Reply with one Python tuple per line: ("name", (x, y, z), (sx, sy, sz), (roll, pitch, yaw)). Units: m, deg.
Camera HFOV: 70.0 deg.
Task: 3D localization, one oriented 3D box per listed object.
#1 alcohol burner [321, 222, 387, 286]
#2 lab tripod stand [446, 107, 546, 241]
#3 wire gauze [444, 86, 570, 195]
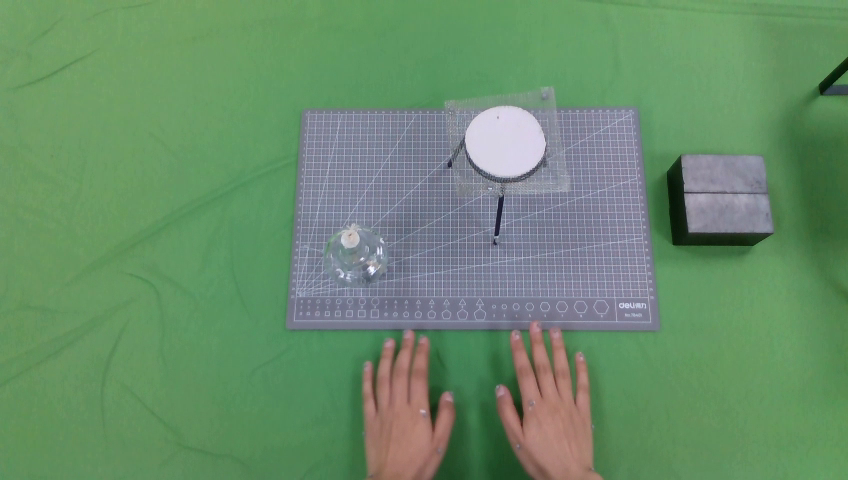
("alcohol burner", (-0.082, 0.011, 0.701), (0.078, 0.120, 0.077), (0, 71, 0))
("lab tripod stand", (0.092, -0.089, 0.717), (0.148, 0.132, 0.147), (0, 71, 1))
("wire gauze", (0.088, -0.106, 0.652), (0.125, 0.011, 0.120), (-5, 73, -1))
